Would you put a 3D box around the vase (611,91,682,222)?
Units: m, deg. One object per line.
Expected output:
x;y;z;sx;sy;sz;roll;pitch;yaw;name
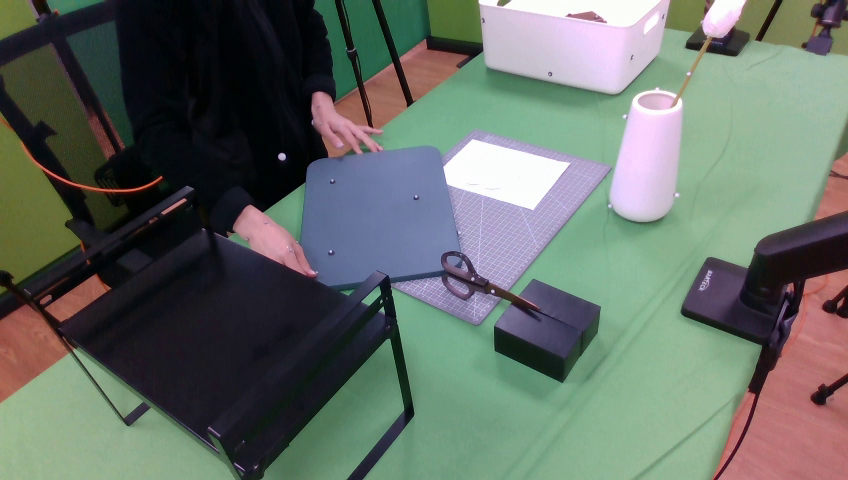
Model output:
0.348;-0.125;0.935;0.098;0.201;0.097;-3;40;3;vase

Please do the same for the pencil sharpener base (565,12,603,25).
0.363;-0.457;1.382;0.077;0.107;0.061;-14;41;-9;pencil sharpener base

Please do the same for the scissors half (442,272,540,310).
0.089;0.074;0.832;0.013;0.040;0.173;-24;23;-38;scissors half

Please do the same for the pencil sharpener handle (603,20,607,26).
0.412;-0.477;1.381;0.031;0.068;0.035;-14;36;-8;pencil sharpener handle

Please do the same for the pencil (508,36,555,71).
0.263;-0.454;1.470;0.012;0.012;0.194;27;54;33;pencil

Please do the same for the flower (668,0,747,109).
0.354;-0.187;0.879;0.038;0.362;0.044;31;48;14;flower

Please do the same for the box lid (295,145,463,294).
-0.083;-0.050;1.051;0.263;0.015;0.369;-8;40;-1;box lid

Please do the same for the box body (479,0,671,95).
0.339;-0.480;1.381;0.361;0.161;0.255;22;48;30;box body

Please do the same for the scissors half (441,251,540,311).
0.087;0.056;0.824;0.013;0.040;0.173;-30;44;-35;scissors half
